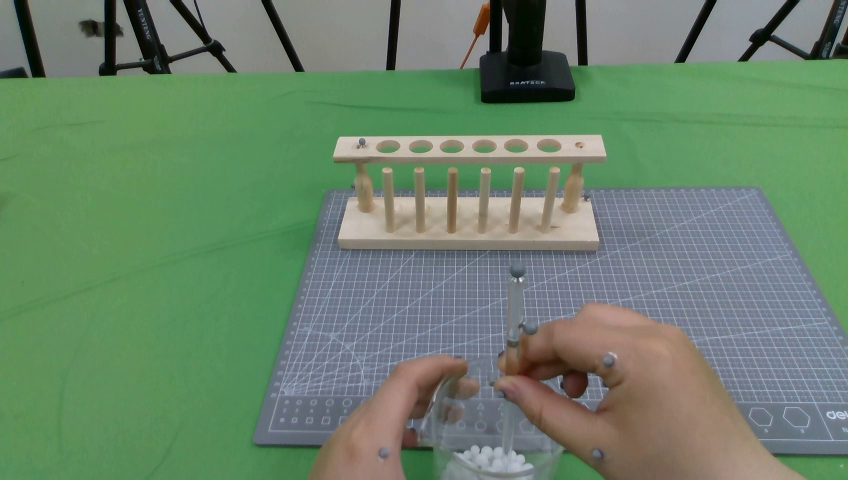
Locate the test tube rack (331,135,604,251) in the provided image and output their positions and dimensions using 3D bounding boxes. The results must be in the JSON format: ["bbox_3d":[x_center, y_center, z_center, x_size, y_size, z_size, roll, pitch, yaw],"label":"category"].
[{"bbox_3d":[0.039,-0.043,0.564,0.242,0.086,0.066,1,42,4],"label":"test tube rack"}]

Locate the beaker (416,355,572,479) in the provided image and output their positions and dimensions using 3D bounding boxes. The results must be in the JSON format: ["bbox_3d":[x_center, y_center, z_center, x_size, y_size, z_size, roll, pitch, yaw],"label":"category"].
[{"bbox_3d":[0.037,0.128,0.351,0.084,0.101,0.073,-11,41,-13],"label":"beaker"}]

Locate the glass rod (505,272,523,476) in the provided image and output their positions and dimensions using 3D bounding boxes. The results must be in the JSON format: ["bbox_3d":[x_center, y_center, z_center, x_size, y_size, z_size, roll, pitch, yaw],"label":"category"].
[{"bbox_3d":[0.046,0.082,0.315,0.008,0.201,0.008,-3,47,4],"label":"glass rod"}]
